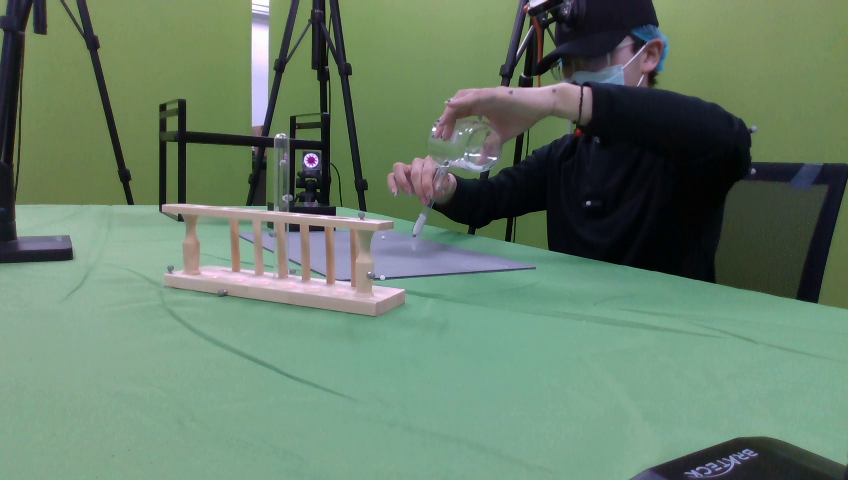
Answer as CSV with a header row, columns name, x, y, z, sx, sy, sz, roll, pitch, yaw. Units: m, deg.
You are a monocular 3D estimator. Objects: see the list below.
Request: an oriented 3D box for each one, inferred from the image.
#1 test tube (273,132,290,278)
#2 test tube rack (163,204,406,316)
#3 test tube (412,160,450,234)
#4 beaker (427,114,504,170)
name,x,y,z,sx,sy,sz,roll,pitch,yaw
test tube,-0.146,-0.034,0.617,0.017,0.150,0.017,2,8,0
test tube rack,-0.141,0.013,0.601,0.241,0.085,0.067,5,8,21
test tube,0.010,-0.064,0.956,0.017,0.150,0.017,14,41,-12
beaker,0.058,-0.136,0.859,0.074,0.084,0.100,36,-6,-31
